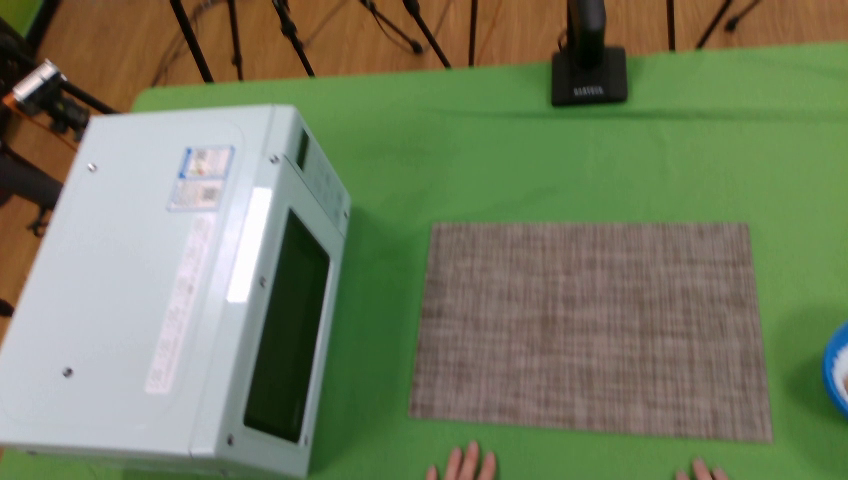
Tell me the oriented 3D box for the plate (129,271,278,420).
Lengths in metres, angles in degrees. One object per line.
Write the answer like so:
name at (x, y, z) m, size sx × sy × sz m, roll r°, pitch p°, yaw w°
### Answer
plate at (-0.299, 0.145, 0.835) m, size 0.207 × 0.039 × 0.206 m, roll -3°, pitch 63°, yaw 7°

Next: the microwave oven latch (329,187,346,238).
microwave oven latch at (-0.140, -0.043, 0.945) m, size 0.030 × 0.030 × 0.078 m, roll -1°, pitch 65°, yaw 12°

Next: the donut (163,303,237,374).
donut at (-0.300, 0.132, 0.810) m, size 0.099 × 0.048 × 0.098 m, roll -2°, pitch 63°, yaw 5°

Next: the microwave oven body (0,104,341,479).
microwave oven body at (-0.317, 0.077, 0.816) m, size 0.325 × 0.262 × 0.438 m, roll -1°, pitch 65°, yaw 12°

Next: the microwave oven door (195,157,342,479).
microwave oven door at (-0.179, 0.108, 0.764) m, size 0.039 × 0.246 × 0.353 m, roll -2°, pitch 64°, yaw 12°

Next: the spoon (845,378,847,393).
spoon at (0.569, 0.154, 0.652) m, size 0.193 × 0.022 × 0.041 m, roll -13°, pitch 54°, yaw 31°

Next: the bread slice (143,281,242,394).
bread slice at (-0.311, 0.118, 0.789) m, size 0.105 × 0.019 × 0.130 m, roll -39°, pitch 65°, yaw -5°

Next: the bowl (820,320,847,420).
bowl at (0.527, 0.163, 0.693) m, size 0.151 × 0.077 × 0.150 m, roll -5°, pitch 63°, yaw 10°

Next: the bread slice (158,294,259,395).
bread slice at (-0.304, 0.136, 0.832) m, size 0.107 × 0.018 × 0.133 m, roll -41°, pitch 59°, yaw -18°
